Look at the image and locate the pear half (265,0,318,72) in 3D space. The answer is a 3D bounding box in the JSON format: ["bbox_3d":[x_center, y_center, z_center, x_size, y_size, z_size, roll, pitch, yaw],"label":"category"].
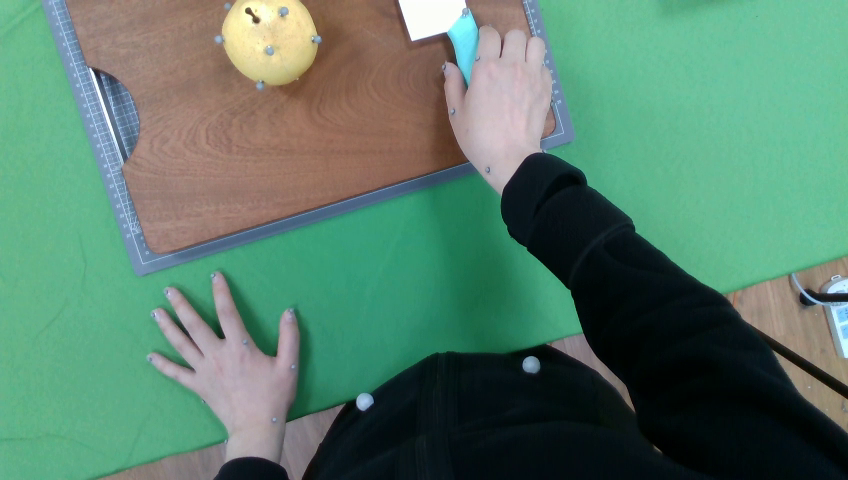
[{"bbox_3d":[-0.108,-0.183,0.513,0.031,0.088,0.070,-15,89,-1],"label":"pear half"}]

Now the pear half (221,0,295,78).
[{"bbox_3d":[-0.142,-0.175,0.502,0.056,0.110,0.076,-15,89,0],"label":"pear half"}]

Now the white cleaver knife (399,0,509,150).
[{"bbox_3d":[0.011,-0.219,0.552,0.066,0.021,0.286,-18,90,3],"label":"white cleaver knife"}]
